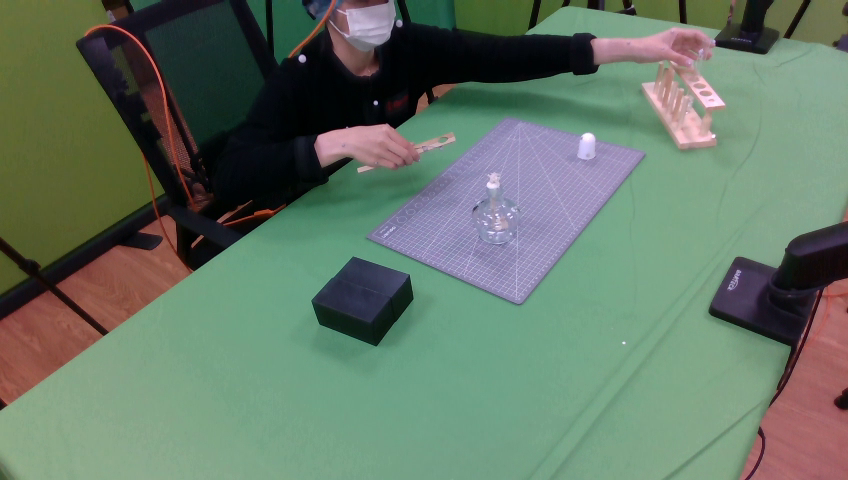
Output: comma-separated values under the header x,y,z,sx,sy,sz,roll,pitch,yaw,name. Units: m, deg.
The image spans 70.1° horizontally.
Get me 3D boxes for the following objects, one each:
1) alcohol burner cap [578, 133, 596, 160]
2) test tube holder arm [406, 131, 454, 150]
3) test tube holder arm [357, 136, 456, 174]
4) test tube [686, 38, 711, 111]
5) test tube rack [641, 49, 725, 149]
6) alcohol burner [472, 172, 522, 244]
x,y,z,sx,sy,sz,roll,pitch,yaw,name
0.301,-0.174,1.111,0.034,0.048,0.033,-5,41,4,alcohol burner cap
0.010,-0.169,1.048,0.088,0.010,0.015,-21,1,-5,test tube holder arm
-0.030,-0.148,1.044,0.179,0.013,0.015,-21,1,-5,test tube holder arm
0.508,-0.305,1.128,0.017,0.151,0.017,-2,46,3,test tube
0.495,-0.279,1.175,0.067,0.085,0.241,-5,41,3,test tube rack
0.112,-0.053,0.942,0.078,0.119,0.077,-6,40,5,alcohol burner
